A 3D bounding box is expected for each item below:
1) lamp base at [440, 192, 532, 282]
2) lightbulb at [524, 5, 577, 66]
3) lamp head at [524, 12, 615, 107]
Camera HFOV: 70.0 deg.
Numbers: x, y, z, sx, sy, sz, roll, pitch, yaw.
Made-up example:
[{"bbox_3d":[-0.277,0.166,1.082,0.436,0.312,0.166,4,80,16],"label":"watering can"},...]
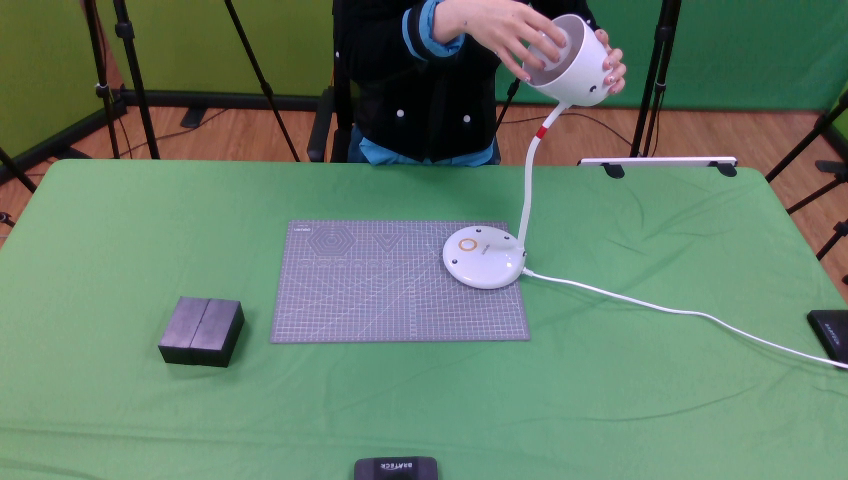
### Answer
[{"bbox_3d":[0.127,-0.032,1.123,0.179,0.181,0.159,11,47,2],"label":"lamp base"},{"bbox_3d":[0.185,-0.283,0.858,0.059,0.108,0.059,-33,36,27],"label":"lightbulb"},{"bbox_3d":[0.220,-0.248,0.885,0.112,0.123,0.111,-25,47,30],"label":"lamp head"}]
